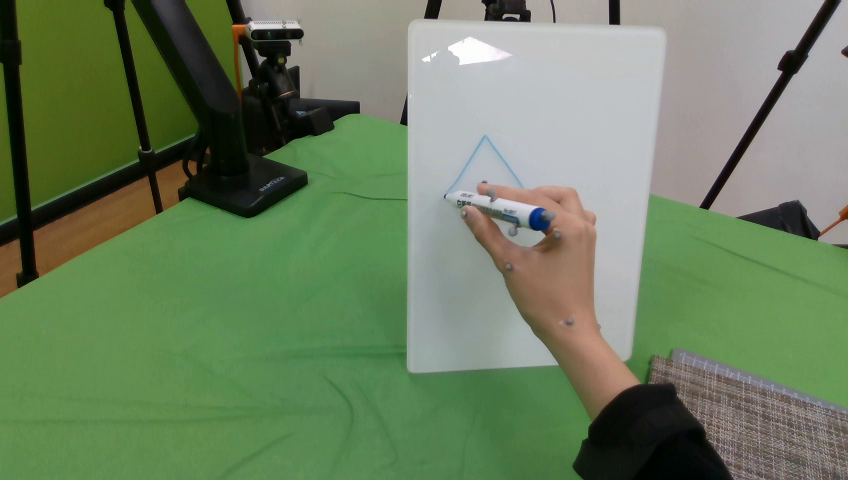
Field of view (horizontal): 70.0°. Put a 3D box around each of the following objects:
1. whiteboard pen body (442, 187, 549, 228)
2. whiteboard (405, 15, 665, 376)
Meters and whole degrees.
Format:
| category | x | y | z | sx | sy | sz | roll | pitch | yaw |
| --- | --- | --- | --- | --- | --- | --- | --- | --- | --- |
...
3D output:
| category | x | y | z | sx | sy | sz | roll | pitch | yaw |
| --- | --- | --- | --- | --- | --- | --- | --- | --- | --- |
| whiteboard pen body | 0.045 | -0.027 | 0.444 | 0.017 | 0.017 | 0.139 | -12 | 15 | -23 |
| whiteboard | 0.083 | -0.046 | 0.585 | 0.218 | 0.306 | 0.143 | -2 | 15 | -8 |
